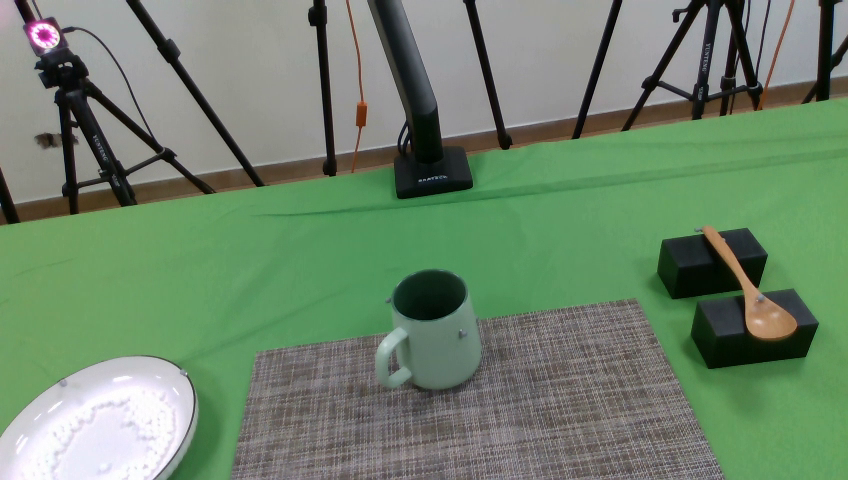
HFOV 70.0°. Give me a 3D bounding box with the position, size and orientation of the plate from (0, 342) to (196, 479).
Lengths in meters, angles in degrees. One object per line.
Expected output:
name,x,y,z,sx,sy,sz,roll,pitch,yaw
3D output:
plate,-0.335,0.195,0.622,0.209,0.038,0.207,-5,39,5

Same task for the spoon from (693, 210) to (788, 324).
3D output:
spoon,0.323,0.021,0.636,0.041,0.022,0.192,-20,37,14

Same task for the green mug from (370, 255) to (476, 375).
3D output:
green mug,-0.005,0.089,0.627,0.091,0.106,0.125,27,52,35
